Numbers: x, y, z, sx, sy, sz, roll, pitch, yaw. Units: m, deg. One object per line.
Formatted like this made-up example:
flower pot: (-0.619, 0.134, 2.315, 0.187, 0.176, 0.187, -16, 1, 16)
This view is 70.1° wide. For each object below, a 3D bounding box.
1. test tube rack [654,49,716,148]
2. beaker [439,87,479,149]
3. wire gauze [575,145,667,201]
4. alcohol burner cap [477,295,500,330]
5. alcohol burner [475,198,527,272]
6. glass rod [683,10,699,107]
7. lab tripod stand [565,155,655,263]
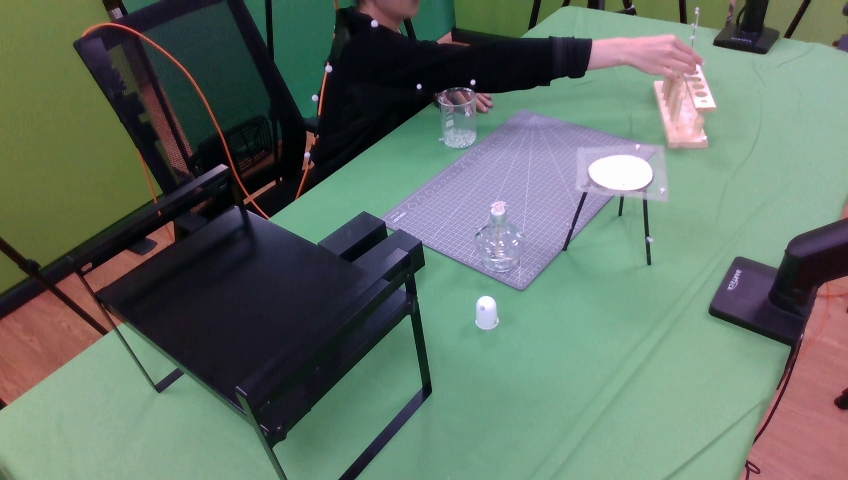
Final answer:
test tube rack: (0.502, -0.281, 1.176, 0.066, 0.085, 0.241, 2, 41, 11)
beaker: (0.072, -0.238, 1.184, 0.073, 0.101, 0.084, 29, 52, 35)
wire gauze: (0.279, -0.100, 0.861, 0.124, 0.011, 0.121, 5, 43, 14)
alcohol burner cap: (0.089, 0.097, 0.833, 0.034, 0.048, 0.033, -4, 42, 4)
alcohol burner: (0.113, -0.012, 0.897, 0.078, 0.119, 0.077, -6, 40, 6)
glass rod: (0.502, -0.335, 1.138, 0.008, 0.201, 0.008, -7, 45, 8)
lab tripod stand: (0.285, -0.046, 0.901, 0.148, 0.132, 0.147, -5, 42, 5)
